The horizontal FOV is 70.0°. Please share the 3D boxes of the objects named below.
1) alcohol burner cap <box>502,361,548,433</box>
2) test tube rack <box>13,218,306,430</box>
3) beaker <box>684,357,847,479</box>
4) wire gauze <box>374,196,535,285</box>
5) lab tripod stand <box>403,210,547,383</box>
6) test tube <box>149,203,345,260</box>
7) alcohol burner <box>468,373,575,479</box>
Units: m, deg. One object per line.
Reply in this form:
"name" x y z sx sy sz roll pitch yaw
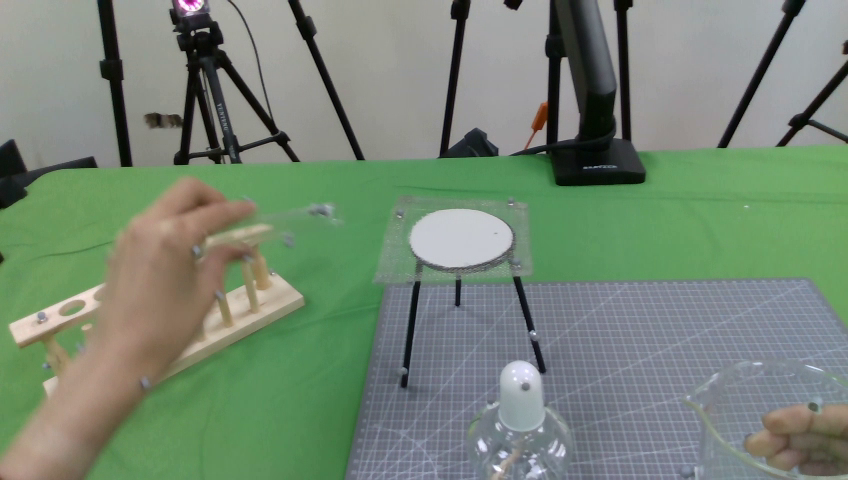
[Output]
"alcohol burner cap" 0.068 0.103 0.411 0.034 0.048 0.033 -5 33 4
"test tube rack" -0.243 0.072 0.591 0.242 0.086 0.066 -28 40 -31
"beaker" 0.165 0.117 0.287 0.083 0.101 0.074 9 33 30
"wire gauze" 0.028 -0.003 0.500 0.121 0.011 0.124 1 35 6
"lab tripod stand" 0.041 0.051 0.539 0.148 0.132 0.147 -2 33 2
"test tube" -0.122 -0.004 0.404 0.150 0.017 0.017 -10 31 18
"alcohol burner" 0.070 0.133 0.431 0.078 0.120 0.077 -3 36 2
